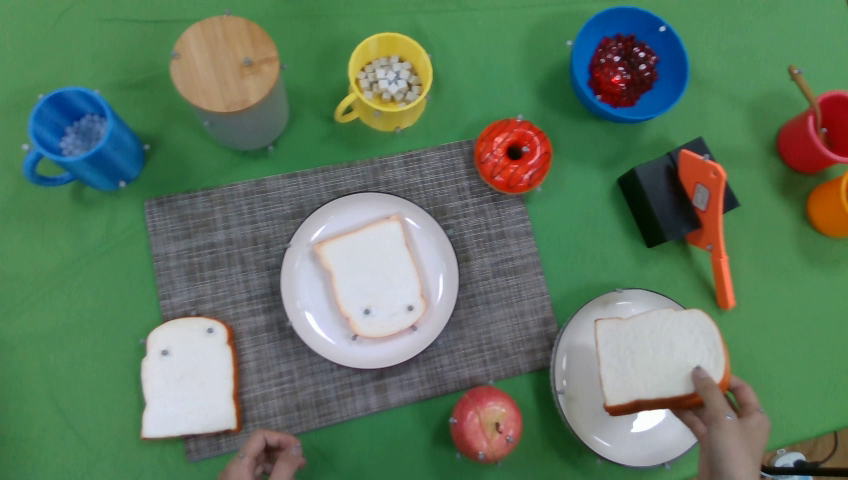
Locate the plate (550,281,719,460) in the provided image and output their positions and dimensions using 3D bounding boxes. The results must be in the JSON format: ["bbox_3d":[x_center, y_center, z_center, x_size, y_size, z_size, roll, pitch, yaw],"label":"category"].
[{"bbox_3d":[0.250,0.155,0.732,0.209,0.038,0.208,1,80,-7],"label":"plate"}]

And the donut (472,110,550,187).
[{"bbox_3d":[0.108,-0.114,0.755,0.099,0.048,0.098,1,81,-7],"label":"donut"}]

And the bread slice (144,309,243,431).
[{"bbox_3d":[-0.261,0.143,0.677,0.105,0.019,0.131,-5,82,-8],"label":"bread slice"}]

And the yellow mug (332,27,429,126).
[{"bbox_3d":[-0.058,-0.191,0.741,0.131,0.064,0.100,-36,86,-11],"label":"yellow mug"}]

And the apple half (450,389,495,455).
[{"bbox_3d":[0.046,0.209,0.678,0.033,0.081,0.081,-20,82,-15],"label":"apple half"}]

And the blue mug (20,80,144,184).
[{"bbox_3d":[-0.381,-0.105,0.665,0.116,0.106,0.082,-39,86,-12],"label":"blue mug"}]

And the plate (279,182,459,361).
[{"bbox_3d":[-0.063,0.037,0.710,0.208,0.039,0.207,1,80,-7],"label":"plate"}]

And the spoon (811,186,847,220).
[{"bbox_3d":[0.593,-0.075,0.759,0.022,0.193,0.041,-8,75,-54],"label":"spoon"}]

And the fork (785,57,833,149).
[{"bbox_3d":[0.488,-0.170,0.763,0.209,0.018,0.028,30,72,-43],"label":"fork"}]

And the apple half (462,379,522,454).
[{"bbox_3d":[0.082,0.194,0.687,0.053,0.075,0.080,-21,81,-15],"label":"apple half"}]

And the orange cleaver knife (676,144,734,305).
[{"bbox_3d":[0.348,-0.018,0.752,0.012,0.076,0.213,-25,113,-16],"label":"orange cleaver knife"}]

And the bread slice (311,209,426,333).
[{"bbox_3d":[-0.057,0.040,0.712,0.107,0.018,0.134,-24,83,-10],"label":"bread slice"}]

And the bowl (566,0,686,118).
[{"bbox_3d":[0.246,-0.218,0.777,0.151,0.077,0.151,1,80,-6],"label":"bowl"}]

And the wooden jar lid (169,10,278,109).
[{"bbox_3d":[-0.206,-0.184,0.627,0.108,0.021,0.108,1,78,-6],"label":"wooden jar lid"}]

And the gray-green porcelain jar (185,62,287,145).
[{"bbox_3d":[-0.212,-0.172,0.687,0.106,0.127,0.105,1,79,-7],"label":"gray-green porcelain jar"}]
